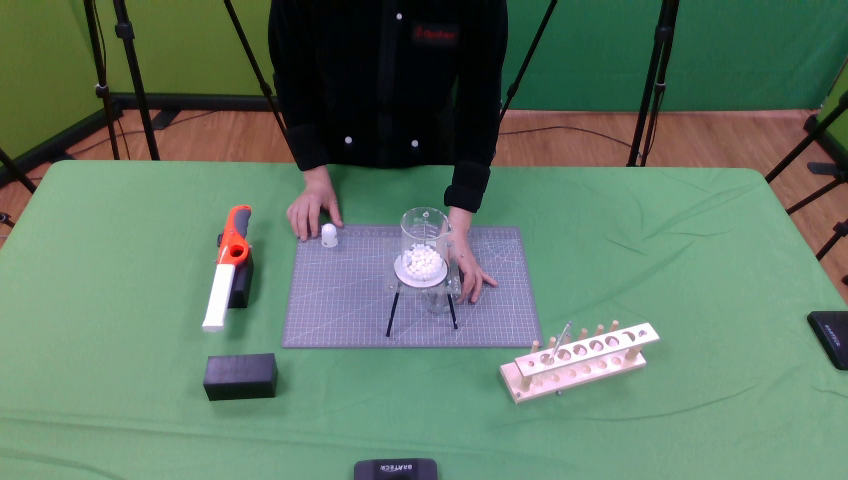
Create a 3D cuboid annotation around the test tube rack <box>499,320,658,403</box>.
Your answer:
[{"bbox_3d":[0.252,0.187,0.994,0.243,0.085,0.066,-12,48,-15],"label":"test tube rack"}]

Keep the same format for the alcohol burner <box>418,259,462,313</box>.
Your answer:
[{"bbox_3d":[0.028,0.074,1.062,0.078,0.120,0.077,1,46,-1],"label":"alcohol burner"}]

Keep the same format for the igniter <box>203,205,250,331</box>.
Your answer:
[{"bbox_3d":[-0.345,0.039,1.065,0.057,0.025,0.274,2,49,-6],"label":"igniter"}]

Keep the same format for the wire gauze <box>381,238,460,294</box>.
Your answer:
[{"bbox_3d":[-0.008,0.042,0.985,0.125,0.011,0.120,-1,43,-2],"label":"wire gauze"}]

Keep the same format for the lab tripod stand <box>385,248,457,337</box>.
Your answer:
[{"bbox_3d":[-0.010,0.087,1.032,0.148,0.132,0.147,1,45,-1],"label":"lab tripod stand"}]

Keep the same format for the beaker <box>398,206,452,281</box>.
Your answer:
[{"bbox_3d":[0.000,0.009,0.950,0.084,0.101,0.073,10,45,6],"label":"beaker"}]

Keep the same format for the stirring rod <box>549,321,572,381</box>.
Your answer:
[{"bbox_3d":[0.201,0.168,0.901,0.006,0.177,0.014,-16,54,-10],"label":"stirring rod"}]

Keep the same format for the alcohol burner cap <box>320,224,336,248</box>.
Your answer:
[{"bbox_3d":[-0.188,-0.010,1.176,0.034,0.048,0.033,2,46,-2],"label":"alcohol burner cap"}]
